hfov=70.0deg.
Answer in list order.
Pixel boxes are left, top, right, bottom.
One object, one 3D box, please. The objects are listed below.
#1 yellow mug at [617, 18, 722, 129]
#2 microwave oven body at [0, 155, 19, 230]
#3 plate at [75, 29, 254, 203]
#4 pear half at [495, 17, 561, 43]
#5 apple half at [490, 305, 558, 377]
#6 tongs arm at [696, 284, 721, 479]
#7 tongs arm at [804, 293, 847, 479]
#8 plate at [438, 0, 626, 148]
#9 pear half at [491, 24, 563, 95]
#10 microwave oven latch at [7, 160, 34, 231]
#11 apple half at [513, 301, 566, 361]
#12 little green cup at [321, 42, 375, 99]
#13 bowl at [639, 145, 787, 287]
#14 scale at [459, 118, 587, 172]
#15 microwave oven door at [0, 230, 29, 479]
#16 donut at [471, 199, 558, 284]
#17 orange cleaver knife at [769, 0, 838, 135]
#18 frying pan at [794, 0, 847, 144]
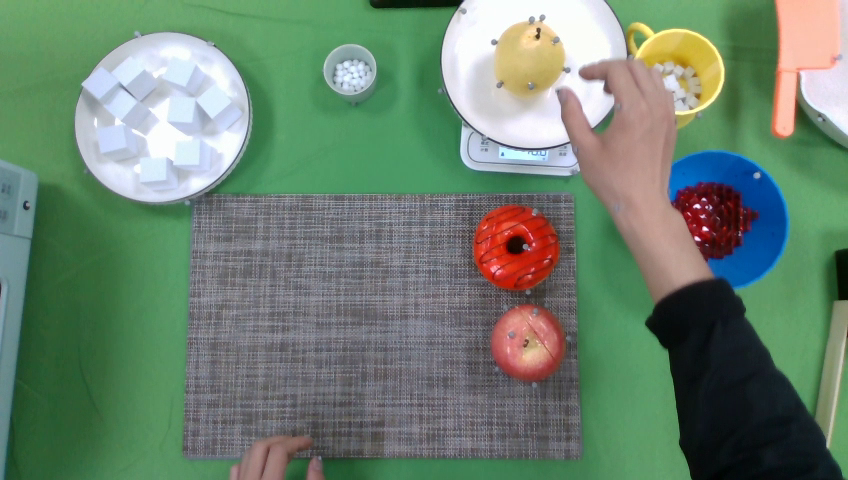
[{"bbox_3d":[0.269,-0.199,0.694,0.100,0.064,0.130,-33,83,-1],"label":"yellow mug"},{"bbox_3d":[-0.629,0.107,0.583,0.326,0.261,0.440,2,84,1],"label":"microwave oven body"},{"bbox_3d":[-0.302,-0.144,0.718,0.207,0.039,0.207,0,83,2],"label":"plate"},{"bbox_3d":[0.111,-0.223,0.651,0.070,0.088,0.031,-4,83,4],"label":"pear half"},{"bbox_3d":[0.101,0.115,0.657,0.053,0.075,0.080,-36,86,1],"label":"apple half"},{"bbox_3d":[0.333,0.238,0.661,0.051,0.026,0.383,0,85,-4],"label":"tongs arm"},{"bbox_3d":[0.419,0.245,0.663,0.028,0.028,0.386,15,84,-5],"label":"tongs arm"},{"bbox_3d":[0.120,-0.203,0.683,0.209,0.038,0.208,0,83,1],"label":"plate"},{"bbox_3d":[0.110,-0.189,0.638,0.076,0.110,0.056,-3,83,4],"label":"pear half"},{"bbox_3d":[-0.470,-0.051,0.693,0.030,0.029,0.079,5,84,2],"label":"microwave oven latch"},{"bbox_3d":[0.132,0.091,0.657,0.033,0.081,0.081,-38,83,1],"label":"apple half"},{"bbox_3d":[-0.087,-0.198,0.718,0.061,0.039,0.061,0,83,2],"label":"little green cup"},{"bbox_3d":[0.304,-0.022,0.668,0.151,0.077,0.151,0,84,2],"label":"bowl"},{"bbox_3d":[0.121,-0.184,0.714,0.148,0.031,0.200,4,84,2],"label":"scale"},{"bbox_3d":[-0.485,0.154,0.569,0.039,0.244,0.354,2,83,2],"label":"microwave oven door"},{"bbox_3d":[0.101,0.002,0.684,0.099,0.048,0.099,0,84,3],"label":"donut"},{"bbox_3d":[0.408,-0.216,0.656,0.077,0.012,0.211,4,84,5],"label":"orange cleaver knife"},{"bbox_3d":[0.592,-0.136,0.660,0.307,0.103,0.485,-27,76,0],"label":"frying pan"}]
